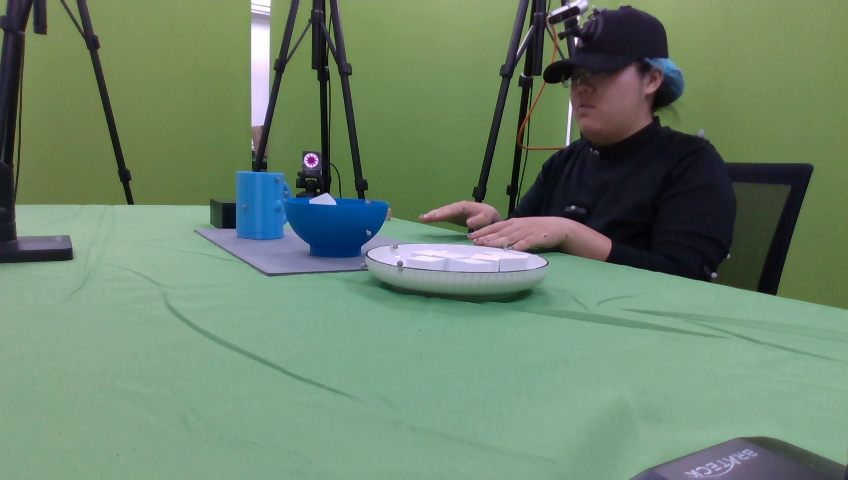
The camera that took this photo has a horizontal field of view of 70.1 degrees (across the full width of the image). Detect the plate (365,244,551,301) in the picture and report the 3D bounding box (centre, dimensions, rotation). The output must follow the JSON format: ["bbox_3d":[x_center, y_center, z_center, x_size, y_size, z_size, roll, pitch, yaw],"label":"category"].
[{"bbox_3d":[0.038,0.035,0.685,0.209,0.038,0.209,2,7,0],"label":"plate"}]

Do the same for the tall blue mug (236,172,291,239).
[{"bbox_3d":[-0.273,-0.061,1.026,0.078,0.108,0.107,1,7,-1],"label":"tall blue mug"}]

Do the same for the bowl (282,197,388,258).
[{"bbox_3d":[-0.127,-0.018,0.868,0.151,0.077,0.151,2,7,0],"label":"bowl"}]

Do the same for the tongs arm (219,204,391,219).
[{"bbox_3d":[-0.258,-0.065,1.367,0.386,0.026,0.050,1,3,-17],"label":"tongs arm"}]

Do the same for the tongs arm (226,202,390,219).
[{"bbox_3d":[-0.275,-0.071,1.446,0.388,0.027,0.028,2,-1,-4],"label":"tongs arm"}]
